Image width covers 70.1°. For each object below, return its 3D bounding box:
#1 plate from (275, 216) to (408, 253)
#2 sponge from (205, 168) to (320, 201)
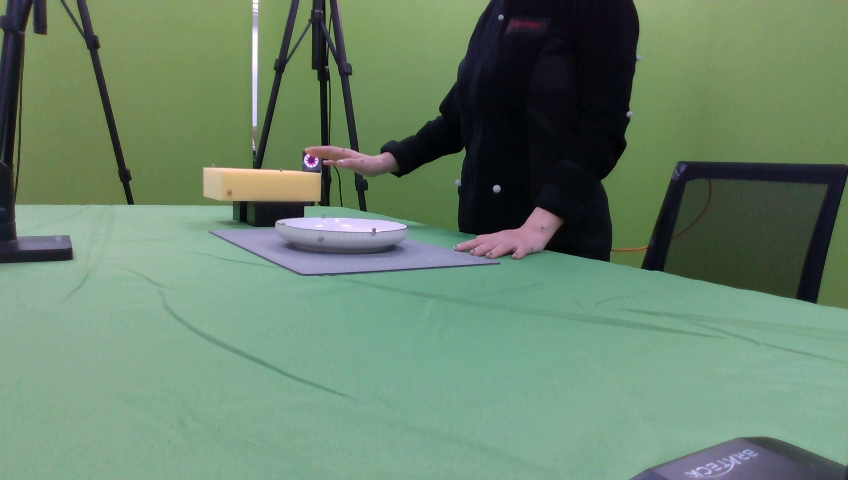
[{"bbox_3d":[-0.129,-0.009,0.954,0.209,0.038,0.209,2,7,0],"label":"plate"},{"bbox_3d":[-0.332,-0.114,1.247,0.208,0.061,0.117,-3,9,-37],"label":"sponge"}]
